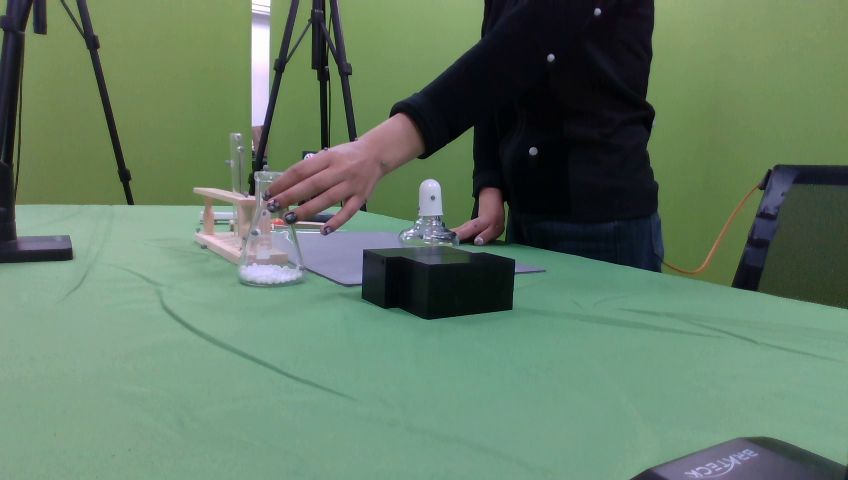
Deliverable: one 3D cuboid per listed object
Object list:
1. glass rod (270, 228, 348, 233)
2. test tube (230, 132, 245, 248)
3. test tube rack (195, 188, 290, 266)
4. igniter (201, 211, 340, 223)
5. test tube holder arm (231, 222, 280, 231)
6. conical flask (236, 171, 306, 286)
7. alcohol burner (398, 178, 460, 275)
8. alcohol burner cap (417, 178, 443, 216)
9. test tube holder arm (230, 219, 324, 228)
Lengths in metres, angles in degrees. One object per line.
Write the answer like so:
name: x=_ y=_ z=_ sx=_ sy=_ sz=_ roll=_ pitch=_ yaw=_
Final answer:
glass rod: x=-0.234 y=-0.017 z=1.104 sx=0.201 sy=0.008 sz=0.008 roll=1 pitch=7 yaw=-26
test tube: x=-0.242 y=-0.065 z=0.789 sx=0.017 sy=0.150 sz=0.017 roll=0 pitch=7 yaw=0
test tube rack: x=-0.266 y=-0.025 z=0.864 sx=0.067 sy=0.085 sz=0.241 roll=-2 pitch=9 yaw=-33
igniter: x=-0.311 y=-0.047 z=1.243 sx=0.278 sy=0.025 sz=0.057 roll=-1 pitch=-2 yaw=-24
test tube holder arm: x=-0.312 y=-0.025 z=1.119 sx=0.088 sy=0.015 sz=0.010 roll=-1 pitch=46 yaw=-30
conical flask: x=-0.167 y=-0.014 z=0.663 sx=0.075 sy=0.122 sz=0.075 roll=2 pitch=7 yaw=0
alcohol burner: x=0.007 y=-0.017 z=0.751 sx=0.078 sy=0.119 sz=0.078 roll=3 pitch=9 yaw=0
alcohol burner cap: x=0.007 y=-0.053 z=0.746 sx=0.034 sy=0.048 sz=0.034 roll=-3 pitch=6 yaw=1
test tube holder arm: x=-0.275 y=-0.031 z=1.145 sx=0.179 sy=0.015 sz=0.013 roll=-3 pitch=47 yaw=-32
